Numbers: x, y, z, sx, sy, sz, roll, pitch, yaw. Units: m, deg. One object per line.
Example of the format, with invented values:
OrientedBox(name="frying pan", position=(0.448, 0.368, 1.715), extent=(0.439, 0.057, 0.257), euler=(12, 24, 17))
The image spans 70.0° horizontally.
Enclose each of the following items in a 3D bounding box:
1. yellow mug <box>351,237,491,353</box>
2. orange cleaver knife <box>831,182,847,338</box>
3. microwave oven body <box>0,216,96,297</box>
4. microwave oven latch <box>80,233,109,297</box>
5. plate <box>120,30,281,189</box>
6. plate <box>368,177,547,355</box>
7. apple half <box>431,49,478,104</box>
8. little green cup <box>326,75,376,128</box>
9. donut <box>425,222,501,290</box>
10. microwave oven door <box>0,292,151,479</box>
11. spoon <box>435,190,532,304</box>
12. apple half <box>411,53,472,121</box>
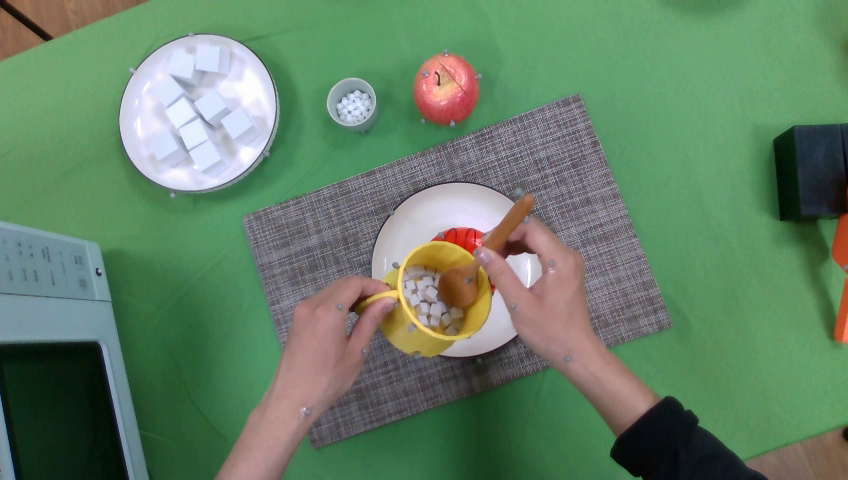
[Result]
OrientedBox(name="yellow mug", position=(-0.007, 0.056, 0.588), extent=(0.131, 0.064, 0.099), euler=(-4, 69, -28))
OrientedBox(name="orange cleaver knife", position=(0.463, 0.006, 0.656), extent=(0.012, 0.076, 0.213), euler=(-1, 115, 8))
OrientedBox(name="microwave oven body", position=(-0.518, 0.230, 0.636), extent=(0.326, 0.261, 0.440), euler=(-17, 82, 3))
OrientedBox(name="microwave oven latch", position=(-0.415, 0.033, 0.747), extent=(0.030, 0.029, 0.079), euler=(-15, 83, 3))
OrientedBox(name="plate", position=(-0.282, -0.164, 0.776), extent=(0.207, 0.039, 0.207), euler=(-1, 83, 6))
OrientedBox(name="plate", position=(0.039, 0.030, 0.718), extent=(0.209, 0.038, 0.208), euler=(-1, 83, 6))
OrientedBox(name="apple half", position=(0.044, -0.201, 0.730), extent=(0.033, 0.081, 0.081), euler=(-41, 80, 4))
OrientedBox(name="little green cup", position=(-0.089, -0.170, 0.758), extent=(0.061, 0.039, 0.061), euler=(-1, 83, 6))
OrientedBox(name="donut", position=(0.040, 0.028, 0.706), extent=(0.099, 0.048, 0.099), euler=(-1, 85, 7))
OrientedBox(name="microwave oven door", position=(-0.368, 0.228, 0.617), extent=(0.039, 0.244, 0.354), euler=(-17, 81, 3))
OrientedBox(name="spoon", position=(0.050, 0.012, 0.535), extent=(0.041, 0.194, 0.021), euler=(43, 61, 6))
OrientedBox(name="apple half", position=(0.014, -0.176, 0.731), extent=(0.053, 0.075, 0.080), euler=(-40, 84, 4))
